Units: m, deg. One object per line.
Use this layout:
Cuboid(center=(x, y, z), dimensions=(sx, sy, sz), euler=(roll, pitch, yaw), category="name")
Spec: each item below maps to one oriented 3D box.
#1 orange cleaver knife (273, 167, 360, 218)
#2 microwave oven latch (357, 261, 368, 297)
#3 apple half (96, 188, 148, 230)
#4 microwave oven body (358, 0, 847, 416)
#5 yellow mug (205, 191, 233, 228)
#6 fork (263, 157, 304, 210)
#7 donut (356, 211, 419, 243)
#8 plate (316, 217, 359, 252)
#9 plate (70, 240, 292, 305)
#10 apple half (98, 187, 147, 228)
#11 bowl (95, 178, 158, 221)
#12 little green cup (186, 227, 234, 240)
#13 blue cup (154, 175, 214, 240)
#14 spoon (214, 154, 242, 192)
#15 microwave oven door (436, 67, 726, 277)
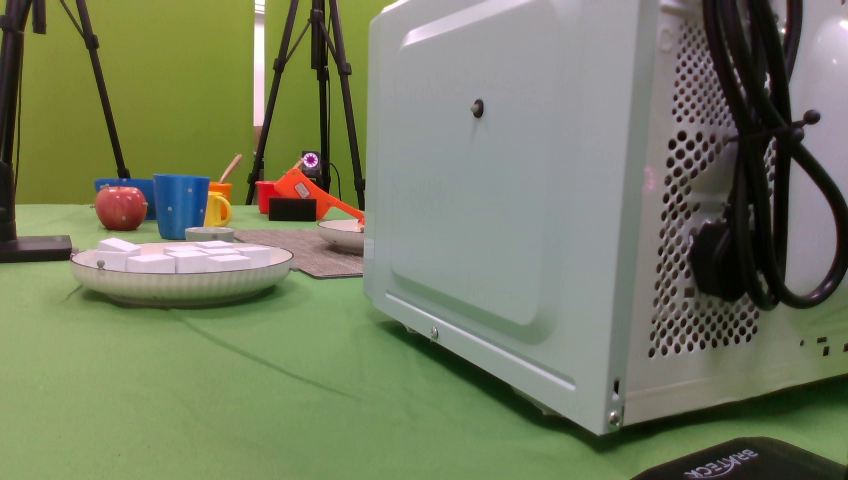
Cuboid(center=(-0.238, -0.091, 1.381), dimensions=(0.212, 0.077, 0.012), euler=(31, 0, -19), category="orange cleaver knife")
Cuboid(center=(-0.019, 0.033, 0.531), dimensions=(0.079, 0.029, 0.030), euler=(-1, 7, -27), category="microwave oven latch")
Cuboid(center=(-0.517, -0.052, 1.036), dimensions=(0.081, 0.074, 0.053), euler=(2, 10, -26), category="apple half")
Cuboid(center=(0.211, -0.047, 0.474), dimensions=(0.444, 0.260, 0.324), euler=(-1, 7, -28), category="microwave oven body")
Cuboid(center=(-0.415, -0.057, 1.132), dimensions=(0.130, 0.064, 0.100), euler=(6, 8, 16), category="yellow mug")
Cuboid(center=(-0.345, -0.143, 1.505), dimensions=(0.028, 0.019, 0.207), euler=(-4, 46, 29), category="fork")
Cuboid(center=(-0.057, -0.019, 0.944), dimensions=(0.099, 0.048, 0.099), euler=(5, 6, 0), category="donut")
Cuboid(center=(-0.064, -0.007, 0.943), dimensions=(0.209, 0.038, 0.209), euler=(3, 8, 0), category="plate")
Cuboid(center=(-0.242, 0.031, 0.618), dimensions=(0.208, 0.039, 0.207), euler=(2, 8, 0), category="plate")
Cuboid(center=(-0.534, -0.059, 1.071), dimensions=(0.082, 0.081, 0.032), euler=(-1, 11, -25), category="apple half")
Cuboid(center=(-0.576, -0.081, 1.217), dimensions=(0.151, 0.077, 0.151), euler=(3, 8, 0), category="bowl")
Cuboid(center=(-0.285, 0.005, 0.805), dimensions=(0.061, 0.038, 0.061), euler=(2, 8, 0), category="little green cup")
Cuboid(center=(-0.390, -0.053, 0.978), dimensions=(0.093, 0.100, 0.092), euler=(3, 6, 0), category="blue cup")
Cuboid(center=(-0.439, -0.124, 1.317), dimensions=(0.041, 0.193, 0.022), euler=(5, -36, 16), category="spoon")
Cuboid(center=(0.184, -0.093, 0.782), dimensions=(0.354, 0.243, 0.039), euler=(6, 9, 28), category="microwave oven door")
